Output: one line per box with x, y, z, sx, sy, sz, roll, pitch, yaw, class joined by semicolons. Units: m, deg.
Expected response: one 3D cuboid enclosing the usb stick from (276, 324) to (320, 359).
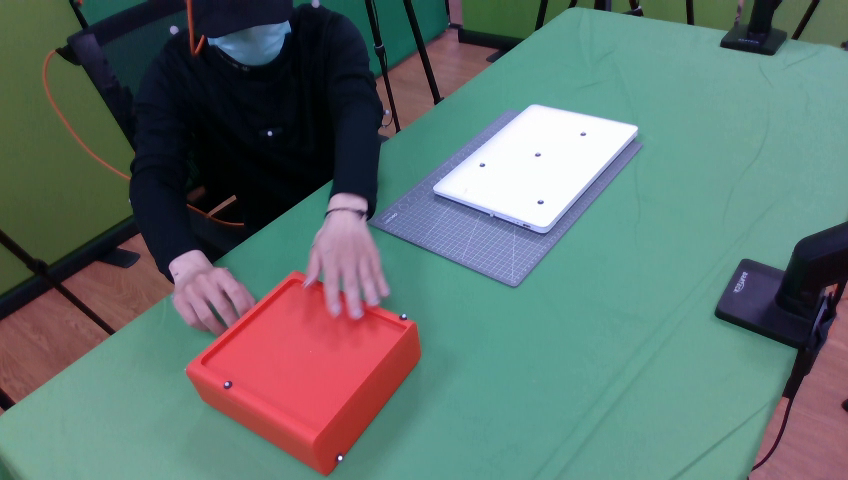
-0.173;0.139;0.815;0.059;0.027;0.021;-27;38;-22;usb stick

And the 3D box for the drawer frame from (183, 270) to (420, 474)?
-0.148;0.153;0.767;0.212;0.083;0.202;19;46;27;drawer frame

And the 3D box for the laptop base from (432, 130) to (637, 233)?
0.210;-0.142;1.111;0.233;0.023;0.355;21;47;34;laptop base

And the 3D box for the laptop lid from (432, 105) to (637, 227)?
0.207;-0.152;1.105;0.239;0.013;0.358;23;49;34;laptop lid

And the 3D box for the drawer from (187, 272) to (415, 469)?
-0.150;0.154;0.768;0.210;0.073;0.195;20;46;28;drawer
